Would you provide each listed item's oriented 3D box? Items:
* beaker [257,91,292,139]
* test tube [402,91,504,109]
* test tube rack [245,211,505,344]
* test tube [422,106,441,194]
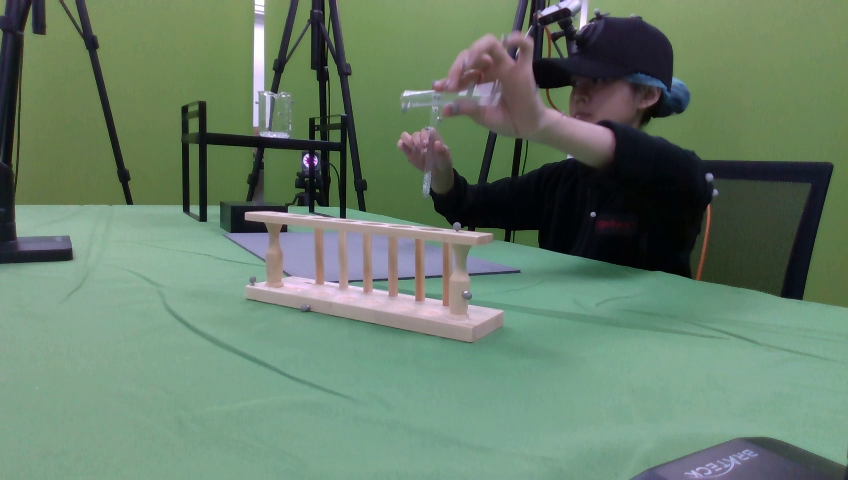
[{"bbox_3d":[-0.331,-0.276,1.343,0.074,0.100,0.083,0,8,-20],"label":"beaker"},{"bbox_3d":[0.026,-0.145,0.622,0.017,0.017,0.149,-3,14,-39],"label":"test tube"},{"bbox_3d":[-0.049,0.025,0.547,0.241,0.085,0.067,7,8,29],"label":"test tube rack"},{"bbox_3d":[0.012,-0.152,1.026,0.017,0.150,0.017,7,6,0],"label":"test tube"}]
